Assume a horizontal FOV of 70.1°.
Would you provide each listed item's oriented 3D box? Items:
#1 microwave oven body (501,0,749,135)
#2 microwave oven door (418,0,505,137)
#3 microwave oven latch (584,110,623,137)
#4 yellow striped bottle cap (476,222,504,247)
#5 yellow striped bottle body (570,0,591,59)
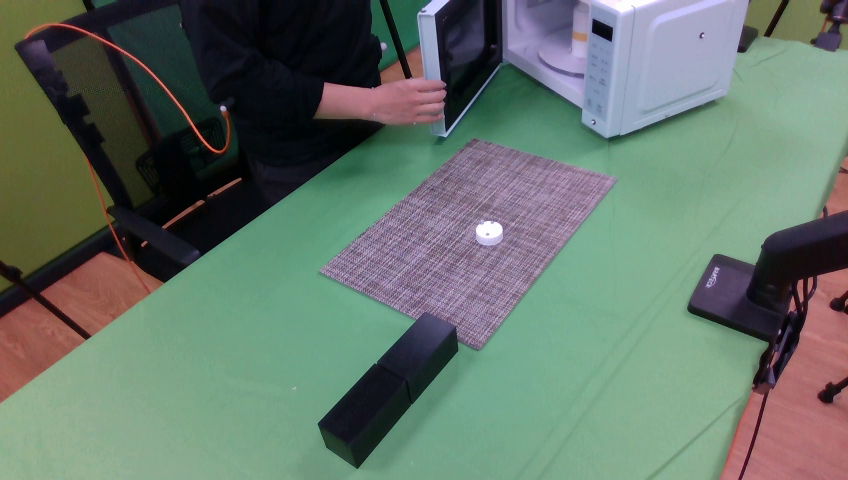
[{"bbox_3d":[0.382,-0.444,1.246,0.327,0.261,0.437,-22,42,-16],"label":"microwave oven body"},{"bbox_3d":[0.088,-0.408,1.237,0.039,0.245,0.356,12,45,22],"label":"microwave oven door"},{"bbox_3d":[0.337,-0.222,1.142,0.030,0.029,0.078,-21,42,-15],"label":"microwave oven latch"},{"bbox_3d":[0.105,-0.010,0.966,0.044,0.019,0.044,-3,39,3],"label":"yellow striped bottle cap"},{"bbox_3d":[0.338,-0.450,1.269,0.063,0.121,0.062,-7,44,7],"label":"yellow striped bottle body"}]
